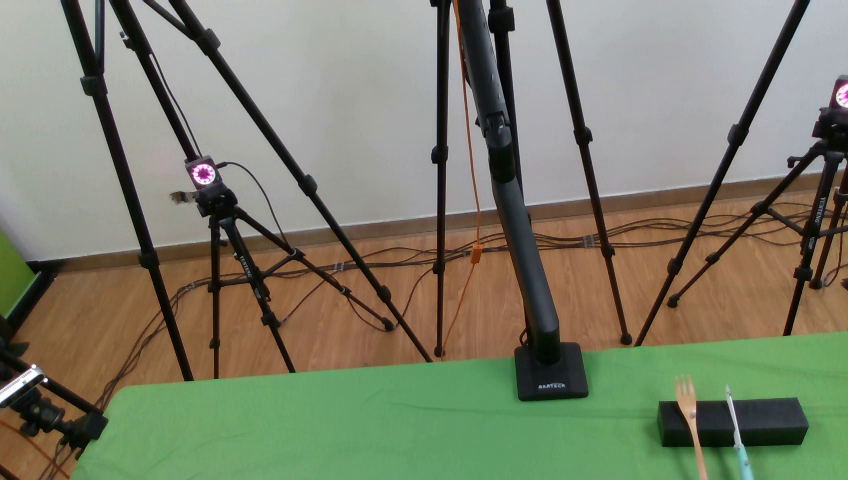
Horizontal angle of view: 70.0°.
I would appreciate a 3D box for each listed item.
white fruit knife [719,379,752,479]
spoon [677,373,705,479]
[{"bbox_3d":[0.454,0.301,0.880,0.016,0.028,0.205,-1,55,6],"label":"white fruit knife"},{"bbox_3d":[0.399,0.294,0.894,0.041,0.022,0.192,-13,56,35],"label":"spoon"}]
